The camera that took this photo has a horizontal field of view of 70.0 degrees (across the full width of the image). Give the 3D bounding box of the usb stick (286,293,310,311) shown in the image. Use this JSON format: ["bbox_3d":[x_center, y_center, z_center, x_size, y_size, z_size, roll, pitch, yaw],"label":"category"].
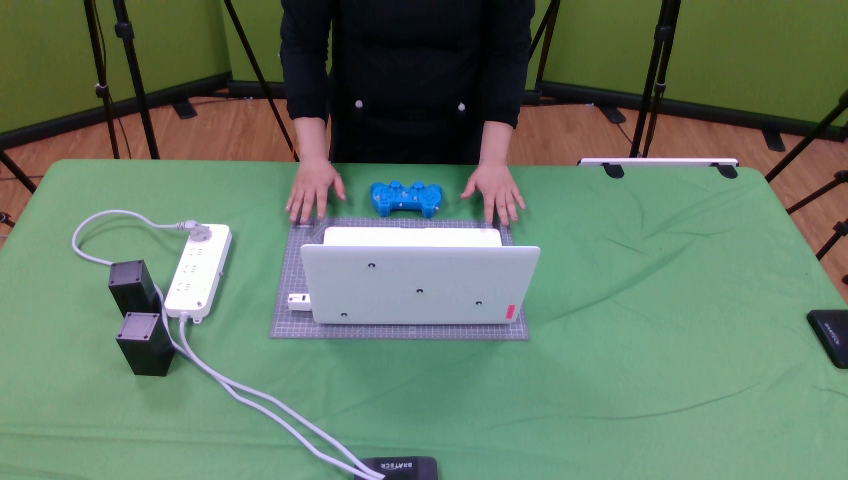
[{"bbox_3d":[-0.210,0.109,1.059,0.059,0.027,0.021,4,44,-6],"label":"usb stick"}]

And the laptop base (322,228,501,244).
[{"bbox_3d":[-0.020,0.063,1.136,0.355,0.023,0.234,0,43,-4],"label":"laptop base"}]

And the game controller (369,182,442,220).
[{"bbox_3d":[-0.039,-0.091,1.268,0.155,0.052,0.096,2,50,-2],"label":"game controller"}]

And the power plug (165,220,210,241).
[{"bbox_3d":[-0.440,-0.016,1.143,0.072,0.053,0.035,7,46,8],"label":"power plug"}]

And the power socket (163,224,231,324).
[{"bbox_3d":[-0.411,0.052,1.107,0.072,0.033,0.225,3,46,-3],"label":"power socket"}]

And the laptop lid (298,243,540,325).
[{"bbox_3d":[-0.010,0.076,0.958,0.357,0.243,0.013,1,53,-5],"label":"laptop lid"}]
